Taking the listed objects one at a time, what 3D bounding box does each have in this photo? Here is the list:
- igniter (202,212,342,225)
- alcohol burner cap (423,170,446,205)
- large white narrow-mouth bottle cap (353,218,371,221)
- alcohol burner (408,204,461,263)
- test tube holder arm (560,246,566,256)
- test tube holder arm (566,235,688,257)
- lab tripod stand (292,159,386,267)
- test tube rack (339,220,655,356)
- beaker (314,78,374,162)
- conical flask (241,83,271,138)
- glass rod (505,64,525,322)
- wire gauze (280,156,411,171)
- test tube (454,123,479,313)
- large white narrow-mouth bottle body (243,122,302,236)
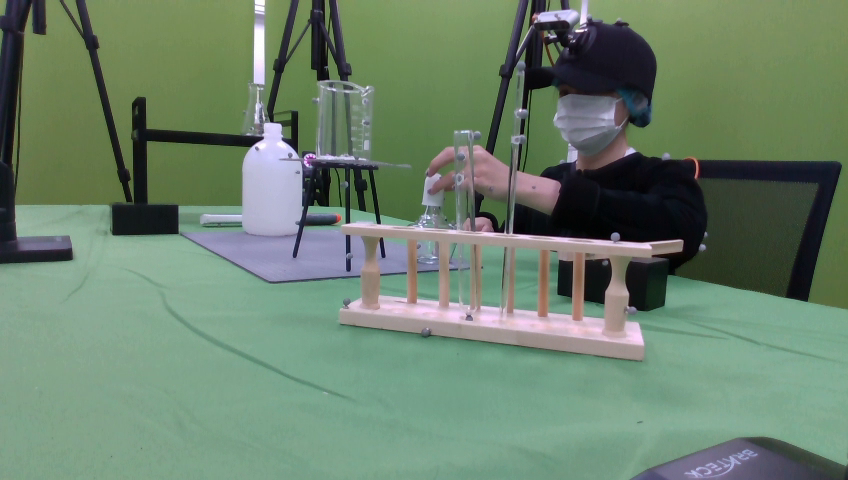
[{"bbox_3d":[-0.298,-0.043,1.216,0.278,0.025,0.057,-3,-2,-32],"label":"igniter"},{"bbox_3d":[0.015,-0.072,0.828,0.034,0.048,0.034,5,9,0],"label":"alcohol burner cap"},{"bbox_3d":[-0.120,-0.029,1.184,0.038,0.024,0.037,2,8,0],"label":"large white narrow-mouth bottle cap"},{"bbox_3d":[0.013,-0.029,0.833,0.078,0.119,0.078,0,6,0],"label":"alcohol burner"},{"bbox_3d":[0.173,0.007,0.611,0.088,0.015,0.010,-3,10,-30],"label":"test tube holder arm"},{"bbox_3d":[0.215,0.006,0.629,0.179,0.015,0.013,-3,10,-30],"label":"test tube holder arm"},{"bbox_3d":[-0.105,-0.039,0.797,0.148,0.131,0.148,2,5,0],"label":"lab tripod stand"},{"bbox_3d":[0.056,0.032,0.495,0.242,0.085,0.067,4,7,15],"label":"test tube rack"},{"bbox_3d":[-0.101,-0.150,0.773,0.074,0.100,0.083,-2,8,-40],"label":"beaker"},{"bbox_3d":[-0.383,-0.297,1.393,0.075,0.122,0.075,2,7,0],"label":"conical flask"},{"bbox_3d":[0.069,-0.030,0.458,0.008,0.199,0.008,0,15,0],"label":"glass rod"},{"bbox_3d":[-0.103,-0.103,0.785,0.121,0.011,0.126,11,8,42],"label":"wire gauze"},{"bbox_3d":[0.034,-0.016,0.477,0.017,0.150,0.017,-2,9,1],"label":"test tube"},{"bbox_3d":[-0.264,-0.109,1.061,0.102,0.194,0.102,2,8,0],"label":"large white narrow-mouth bottle body"}]
